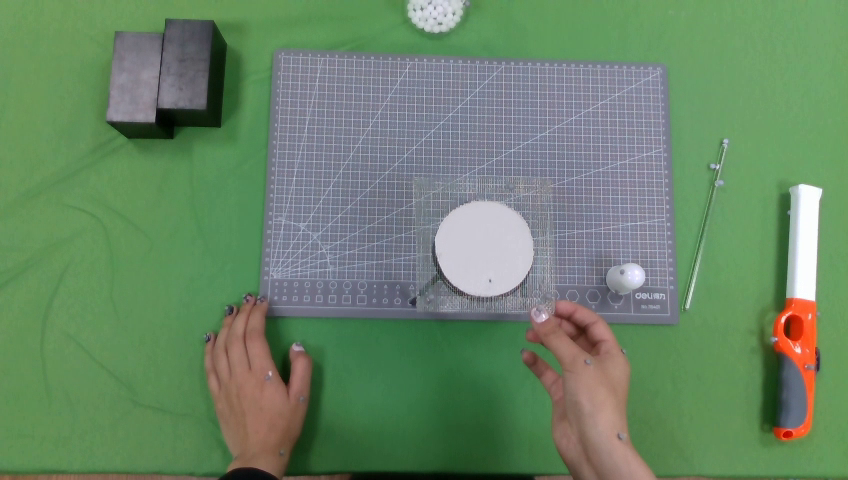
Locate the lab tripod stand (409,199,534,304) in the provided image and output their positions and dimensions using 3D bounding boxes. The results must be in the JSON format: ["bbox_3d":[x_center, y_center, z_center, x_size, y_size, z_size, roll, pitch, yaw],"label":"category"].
[{"bbox_3d":[0.047,0.016,0.591,0.148,0.132,0.148,0,79,-1],"label":"lab tripod stand"}]

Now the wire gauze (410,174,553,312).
[{"bbox_3d":[0.050,0.001,0.525,0.125,0.011,0.121,1,79,-3],"label":"wire gauze"}]

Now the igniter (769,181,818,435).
[{"bbox_3d":[0.402,0.071,0.656,0.057,0.025,0.275,11,80,-12],"label":"igniter"}]

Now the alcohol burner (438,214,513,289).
[{"bbox_3d":[0.053,0.008,0.603,0.078,0.119,0.077,1,78,-3],"label":"alcohol burner"}]

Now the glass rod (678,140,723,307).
[{"bbox_3d":[0.309,-0.021,0.676,0.008,0.008,0.199,18,81,0],"label":"glass rod"}]

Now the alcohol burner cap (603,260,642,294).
[{"bbox_3d":[0.213,0.038,0.642,0.034,0.048,0.033,1,75,-2],"label":"alcohol burner cap"}]

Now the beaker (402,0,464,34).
[{"bbox_3d":[0.012,-0.275,0.657,0.074,0.100,0.084,-43,85,-8],"label":"beaker"}]
